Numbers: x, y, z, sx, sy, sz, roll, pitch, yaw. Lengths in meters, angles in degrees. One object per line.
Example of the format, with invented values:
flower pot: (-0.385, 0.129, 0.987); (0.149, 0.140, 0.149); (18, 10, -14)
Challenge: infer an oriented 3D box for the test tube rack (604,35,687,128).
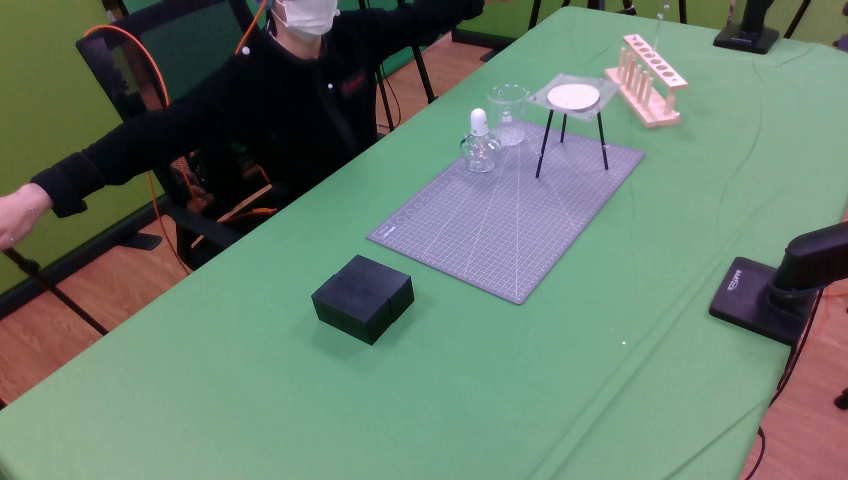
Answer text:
test tube rack: (0.447, -0.330, 1.241); (0.067, 0.085, 0.241); (-9, 41, -2)

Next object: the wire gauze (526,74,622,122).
wire gauze: (0.255, -0.248, 1.030); (0.124, 0.011, 0.122); (24, 51, 32)

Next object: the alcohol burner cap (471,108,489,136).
alcohol burner cap: (0.098, -0.211, 1.074); (0.034, 0.048, 0.033); (-6, 41, 6)

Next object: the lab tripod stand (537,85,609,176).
lab tripod stand: (0.259, -0.192, 1.068); (0.148, 0.132, 0.147); (-4, 42, 4)

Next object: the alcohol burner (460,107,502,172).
alcohol burner: (0.102, -0.185, 1.098); (0.078, 0.119, 0.077); (-6, 40, 5)

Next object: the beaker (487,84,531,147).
beaker: (0.163, -0.237, 1.161); (0.084, 0.101, 0.073); (-10, 41, -3)

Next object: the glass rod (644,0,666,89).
glass rod: (0.465, -0.397, 1.215); (0.008, 0.200, 0.008); (0, 39, 1)
